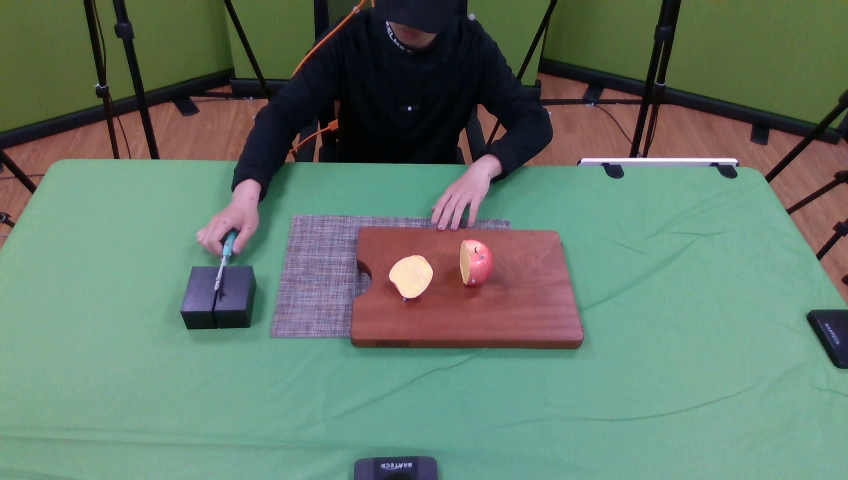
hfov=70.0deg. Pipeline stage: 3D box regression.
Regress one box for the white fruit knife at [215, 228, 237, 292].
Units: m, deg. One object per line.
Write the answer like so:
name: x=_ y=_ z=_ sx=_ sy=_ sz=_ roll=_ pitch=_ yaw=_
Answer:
white fruit knife: x=-0.360 y=0.031 z=1.100 sx=0.016 sy=0.027 sz=0.206 roll=0 pitch=30 yaw=-8

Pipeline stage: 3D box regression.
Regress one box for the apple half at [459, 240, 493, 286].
apple half: x=0.096 y=0.042 z=1.093 sx=0.053 sy=0.075 sz=0.080 roll=-1 pitch=42 yaw=-10

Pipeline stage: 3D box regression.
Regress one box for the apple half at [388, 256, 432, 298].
apple half: x=-0.020 y=0.069 z=1.080 sx=0.081 sy=0.033 sz=0.081 roll=-6 pitch=62 yaw=12
